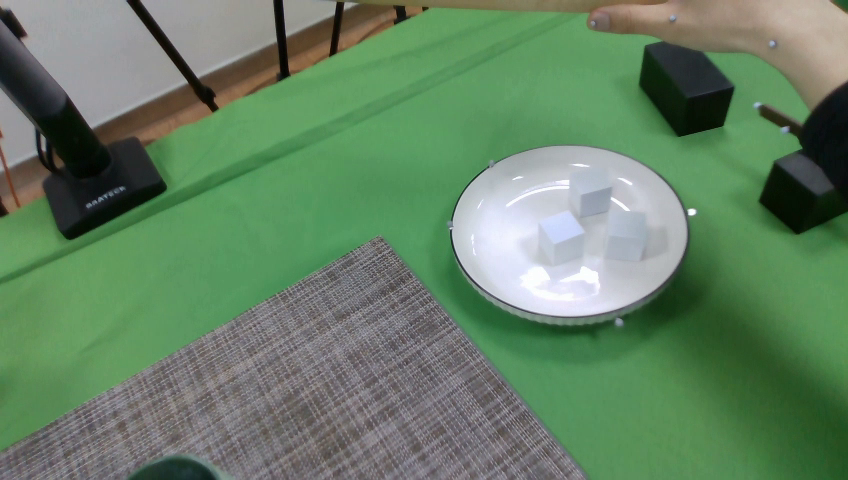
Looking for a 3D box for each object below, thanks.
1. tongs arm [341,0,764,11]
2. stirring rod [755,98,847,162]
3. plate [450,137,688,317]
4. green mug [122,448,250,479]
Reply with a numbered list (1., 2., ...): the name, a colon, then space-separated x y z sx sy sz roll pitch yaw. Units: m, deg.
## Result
1. tongs arm: 0.064 -0.195 0.463 0.387 0.028 0.028 5 58 8
2. stirring rod: 0.358 -0.077 0.517 0.006 0.014 0.174 -27 50 -17
3. plate: 0.129 -0.013 0.558 0.207 0.039 0.205 -5 50 6
4. green mug: -0.126 0.187 0.387 0.125 0.106 0.091 -13 49 -1
